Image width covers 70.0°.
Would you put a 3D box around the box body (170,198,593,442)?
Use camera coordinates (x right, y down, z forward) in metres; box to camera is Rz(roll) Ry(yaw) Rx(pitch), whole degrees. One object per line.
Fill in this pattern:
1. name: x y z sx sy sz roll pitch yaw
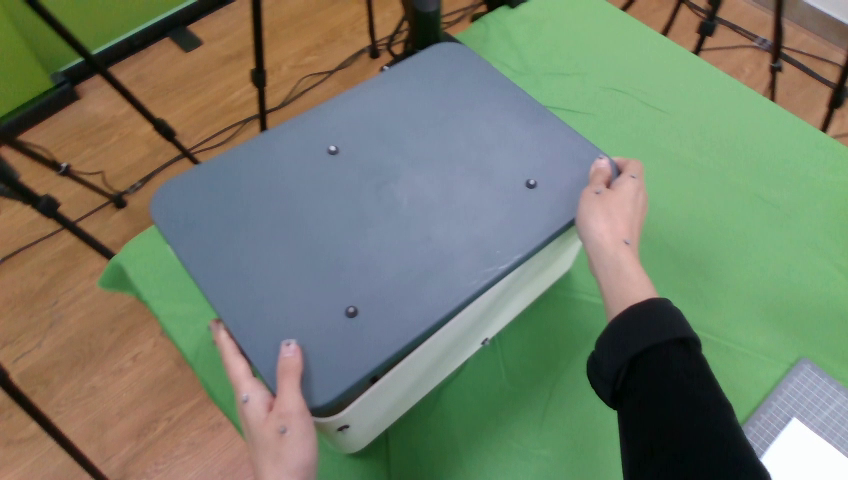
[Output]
1. box body: -0.032 0.001 0.640 0.364 0.162 0.252 -38 65 -20

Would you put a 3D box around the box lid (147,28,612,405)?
1. box lid: -0.033 -0.053 0.556 0.371 0.015 0.261 -35 66 -19

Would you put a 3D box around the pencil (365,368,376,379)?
1. pencil: -0.095 0.099 0.663 0.012 0.012 0.192 -35 67 -19
